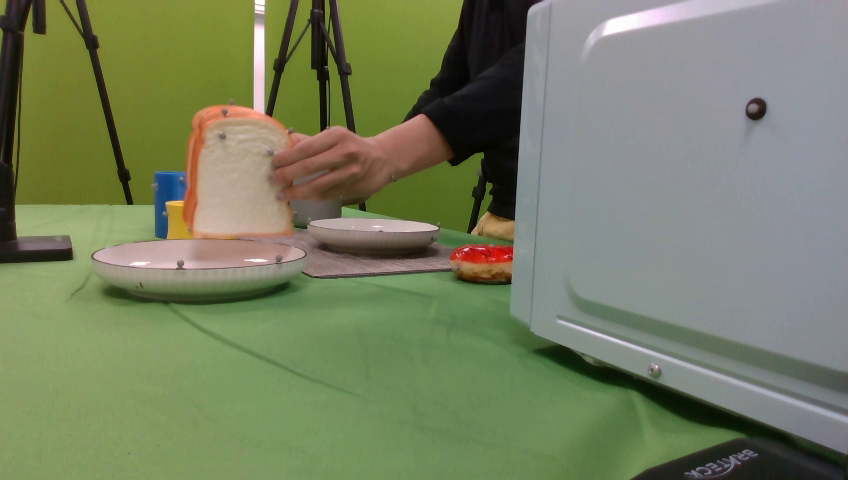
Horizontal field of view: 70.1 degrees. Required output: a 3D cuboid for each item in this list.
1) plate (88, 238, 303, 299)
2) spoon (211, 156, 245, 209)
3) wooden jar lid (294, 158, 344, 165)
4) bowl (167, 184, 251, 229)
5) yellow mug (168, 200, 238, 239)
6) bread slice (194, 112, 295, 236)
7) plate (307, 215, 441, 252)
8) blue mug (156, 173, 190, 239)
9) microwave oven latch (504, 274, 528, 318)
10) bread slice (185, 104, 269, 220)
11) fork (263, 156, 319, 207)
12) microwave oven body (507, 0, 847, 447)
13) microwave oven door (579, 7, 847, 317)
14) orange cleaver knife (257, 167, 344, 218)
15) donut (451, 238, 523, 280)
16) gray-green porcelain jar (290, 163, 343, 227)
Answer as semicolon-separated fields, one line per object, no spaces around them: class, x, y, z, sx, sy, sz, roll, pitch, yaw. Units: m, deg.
plate;-0.233;0.029;0.636;0.208;0.039;0.207;2;7;0
spoon;-0.477;-0.145;1.492;0.041;0.022;0.193;0;51;12
wooden jar lid;-0.215;-0.153;1.212;0.108;0.020;0.108;2;5;0
bowl;-0.408;-0.064;1.155;0.151;0.077;0.151;2;8;0
yellow mug;-0.320;-0.023;0.904;0.130;0.064;0.100;9;11;36
bread slice;-0.194;-0.069;0.651;0.107;0.134;0.018;-7;26;-28
plate;-0.078;-0.011;0.954;0.209;0.038;0.209;2;8;0
blue mug;-0.381;-0.057;1.004;0.117;0.106;0.082;0;8;-12
microwave oven latch;0.100;0.041;0.471;0.079;0.029;0.030;-1;8;-28
bread slice;-0.215;-0.087;0.690;0.105;0.131;0.019;-1;16;-31
fork;-0.331;-0.144;1.505;0.207;0.018;0.028;-42;-20;22
microwave oven body;0.331;-0.042;0.425;0.444;0.260;0.324;-2;8;-31
microwave oven door;0.294;-0.067;0.570;0.358;0.243;0.039;-3;9;-31
orange cleaver knife;-0.276;-0.092;1.369;0.212;0.077;0.012;30;-11;-34
donut;0.083;0.022;0.745;0.099;0.048;0.099;1;5;0
gray-green porcelain jar;-0.217;-0.091;1.221;0.106;0.126;0.106;2;7;0
